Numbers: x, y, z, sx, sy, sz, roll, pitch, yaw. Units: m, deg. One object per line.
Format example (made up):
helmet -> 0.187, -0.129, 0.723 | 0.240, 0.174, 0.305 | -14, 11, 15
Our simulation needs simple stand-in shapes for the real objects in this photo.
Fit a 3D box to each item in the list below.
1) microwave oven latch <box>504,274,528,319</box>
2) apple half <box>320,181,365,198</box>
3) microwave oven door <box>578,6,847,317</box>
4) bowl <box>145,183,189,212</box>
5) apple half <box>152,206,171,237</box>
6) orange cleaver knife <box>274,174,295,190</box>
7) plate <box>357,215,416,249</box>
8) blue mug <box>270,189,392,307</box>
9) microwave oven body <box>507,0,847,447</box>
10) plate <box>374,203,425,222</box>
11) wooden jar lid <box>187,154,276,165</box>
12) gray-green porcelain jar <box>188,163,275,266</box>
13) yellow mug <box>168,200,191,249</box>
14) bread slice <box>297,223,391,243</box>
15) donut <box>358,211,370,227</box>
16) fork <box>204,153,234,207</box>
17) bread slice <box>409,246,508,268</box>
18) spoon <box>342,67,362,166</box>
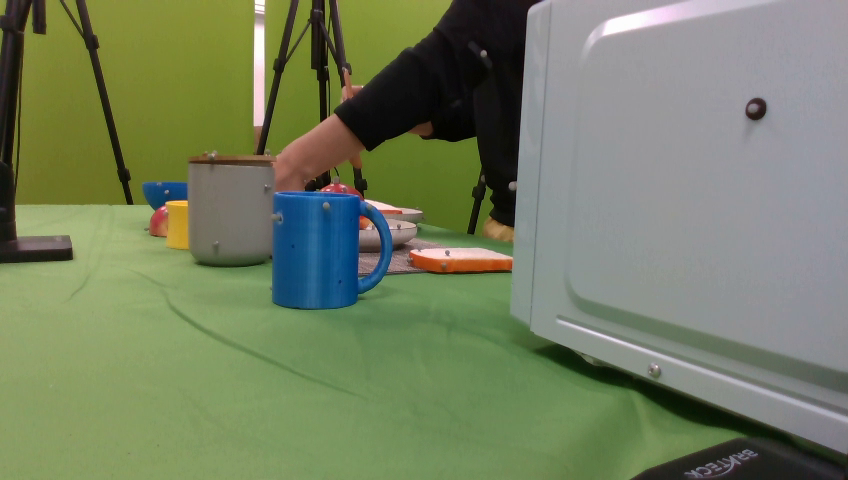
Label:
microwave oven latch -> 0.100, 0.041, 0.471 | 0.079, 0.029, 0.030 | -1, 7, -28
apple half -> -0.130, -0.077, 0.952 | 0.081, 0.033, 0.081 | 4, 13, -1
microwave oven door -> 0.294, -0.067, 0.570 | 0.358, 0.243, 0.039 | -3, 9, -31
bowl -> -0.459, -0.069, 1.175 | 0.151, 0.077, 0.151 | 3, 7, 0
apple half -> -0.415, -0.034, 1.017 | 0.081, 0.053, 0.074 | 1, 10, -9
orange cleaver knife -> -0.283, -0.087, 1.343 | 0.212, 0.077, 0.012 | 24, -16, -41
plate -> -0.116, -0.014, 0.967 | 0.208, 0.039, 0.207 | 2, 7, 0
blue mug -> -0.090, 0.005, 0.588 | 0.117, 0.106, 0.082 | 0, 7, -11
microwave oven body -> 0.331, -0.042, 0.425 | 0.444, 0.260, 0.324 | -2, 8, -31
plate -> -0.102, -0.053, 1.299 | 0.209, 0.038, 0.209 | 2, 8, 0
wooden jar lid -> -0.244, -0.097, 0.771 | 0.108, 0.020, 0.108 | -1, 7, 0
gray-green porcelain jar -> -0.246, -0.034, 0.779 | 0.106, 0.126, 0.106 | 1, 7, 0
yellow mug -> -0.319, -0.023, 0.904 | 0.130, 0.064, 0.100 | 8, 9, 36
bread slice -> -0.121, -0.014, 0.970 | 0.106, 0.018, 0.135 | 9, 11, 41
donut -> -0.132, -0.042, 0.959 | 0.099, 0.048, 0.099 | 4, 8, 0
fork -> -0.480, -0.135, 1.411 | 0.028, 0.018, 0.207 | 1, -34, -1
bread slice -> 0.048, 0.022, 0.816 | 0.132, 0.019, 0.104 | 1, 6, -24
spoon -> -0.138, -0.235, 1.153 | 0.021, 0.193, 0.042 | -5, -2, 29
